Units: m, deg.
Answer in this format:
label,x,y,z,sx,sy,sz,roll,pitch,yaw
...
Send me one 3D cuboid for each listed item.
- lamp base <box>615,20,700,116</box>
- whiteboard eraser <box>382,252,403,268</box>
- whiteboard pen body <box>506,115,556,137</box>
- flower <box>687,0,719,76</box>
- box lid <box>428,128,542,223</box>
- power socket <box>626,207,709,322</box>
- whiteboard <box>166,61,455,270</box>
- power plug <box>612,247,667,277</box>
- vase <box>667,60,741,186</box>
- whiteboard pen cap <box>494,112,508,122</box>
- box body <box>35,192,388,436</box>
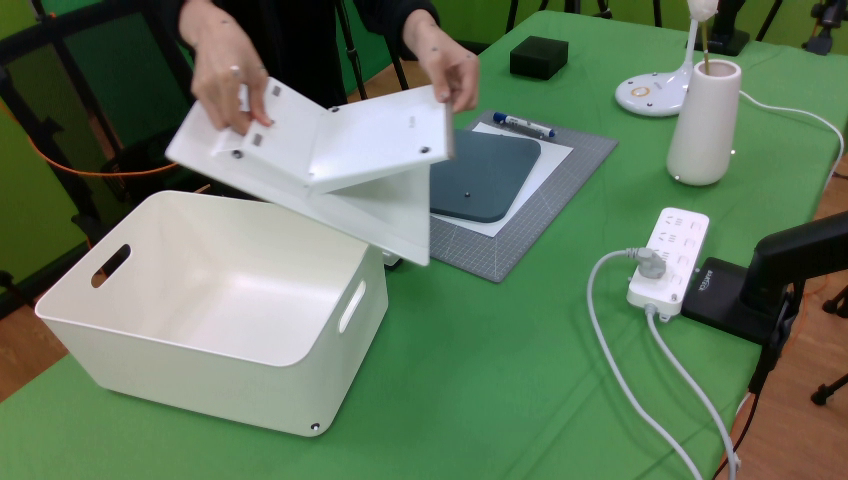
label,x,y,z,sx,sy,sz,roll,pitch,yaw
lamp base,0.484,-0.364,1.211,0.180,0.181,0.159,-15,41,-14
whiteboard eraser,-0.081,0.007,0.963,0.112,0.042,0.056,19,49,27
whiteboard pen body,0.203,-0.232,1.213,0.139,0.017,0.017,27,51,36
flower,0.436,-0.242,0.934,0.038,0.364,0.043,-24,49,8
box lid,0.017,-0.141,1.145,0.369,0.015,0.263,12,44,22
power socket,0.360,0.026,0.886,0.072,0.033,0.227,17,46,27
whiteboard,-0.091,-0.136,0.688,0.307,0.143,0.216,23,39,-20
power plug,0.306,0.031,0.852,0.072,0.053,0.035,21,48,37
vase,0.463,-0.189,0.994,0.098,0.201,0.097,-4,40,3
whiteboard pen cap,0.161,-0.253,1.248,0.033,0.018,0.018,27,51,36
box body,-0.251,0.088,0.800,0.362,0.161,0.254,7,42,16
